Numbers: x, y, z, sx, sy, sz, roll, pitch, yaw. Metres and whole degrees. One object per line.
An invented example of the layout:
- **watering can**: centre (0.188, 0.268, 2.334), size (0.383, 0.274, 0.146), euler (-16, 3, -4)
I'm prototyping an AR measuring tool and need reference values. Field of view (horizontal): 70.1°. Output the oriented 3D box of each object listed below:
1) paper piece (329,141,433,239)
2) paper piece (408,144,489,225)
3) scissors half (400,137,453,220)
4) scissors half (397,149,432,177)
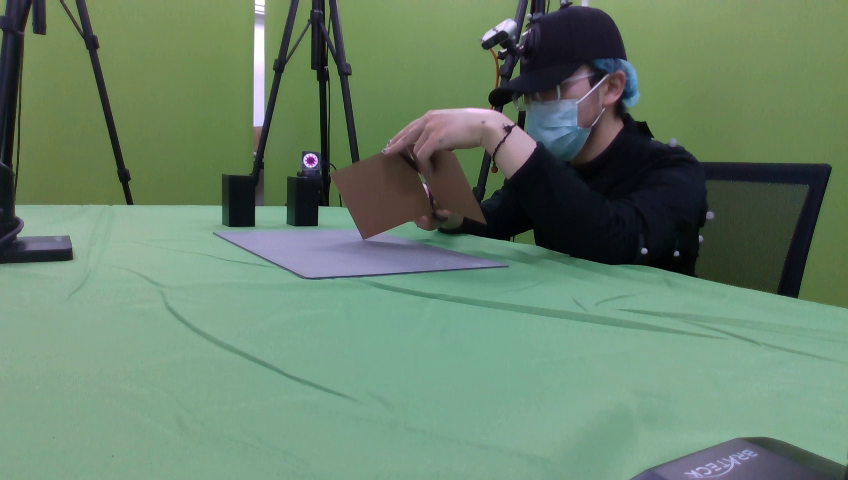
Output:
- **paper piece**: centre (-0.069, -0.081, 1.012), size (0.136, 0.135, 0.004), euler (-23, 25, 3)
- **paper piece**: centre (0.037, -0.090, 0.951), size (0.136, 0.008, 0.137), euler (49, -7, -34)
- **scissors half**: centre (0.003, -0.102, 1.019), size (0.012, 0.176, 0.040), euler (-6, 37, 38)
- **scissors half**: centre (0.009, -0.122, 1.030), size (0.013, 0.040, 0.176), euler (-10, -20, 36)
